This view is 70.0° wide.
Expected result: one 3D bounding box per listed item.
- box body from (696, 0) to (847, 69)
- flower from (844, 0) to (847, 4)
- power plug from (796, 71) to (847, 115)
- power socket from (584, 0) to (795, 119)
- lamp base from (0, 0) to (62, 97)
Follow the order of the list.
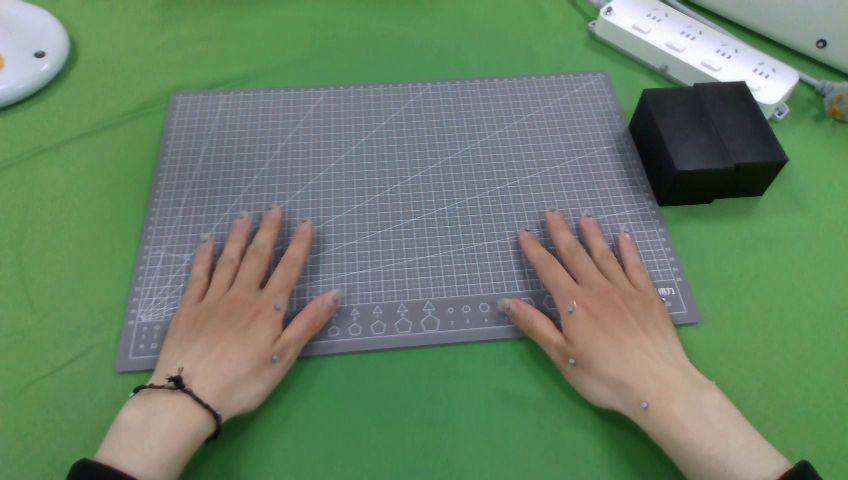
[{"bbox_3d":[0.483,-0.324,0.646,0.361,0.162,0.253,36,63,20],"label":"box body"},{"bbox_3d":[0.488,-0.294,0.711,0.044,0.038,0.358,-31,66,7],"label":"flower"},{"bbox_3d":[0.405,-0.146,0.614,0.053,0.035,0.072,-28,30,-29],"label":"power plug"},{"bbox_3d":[0.278,-0.203,0.640,0.225,0.033,0.072,39,63,22],"label":"power socket"},{"bbox_3d":[-0.463,-0.247,0.561,0.160,0.182,0.177,-32,60,-20],"label":"lamp base"}]
